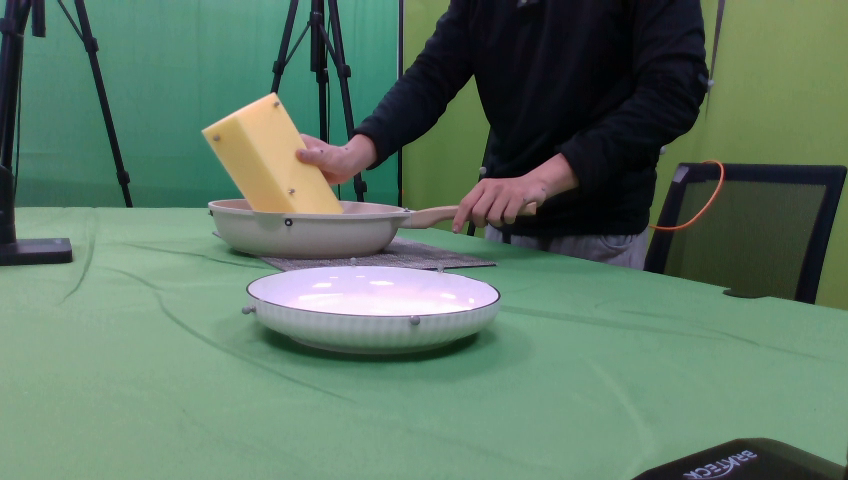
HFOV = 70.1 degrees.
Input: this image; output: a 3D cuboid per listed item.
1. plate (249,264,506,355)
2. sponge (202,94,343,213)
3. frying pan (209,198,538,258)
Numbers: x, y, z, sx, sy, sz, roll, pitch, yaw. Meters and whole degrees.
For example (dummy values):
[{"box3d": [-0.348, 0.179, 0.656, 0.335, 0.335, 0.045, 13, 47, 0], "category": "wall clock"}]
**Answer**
[{"box3d": [-0.037, 0.056, 0.504, 0.208, 0.039, 0.207, 2, 7, 0], "category": "plate"}, {"box3d": [-0.212, -0.095, 0.879, 0.061, 0.207, 0.118, -20, 22, 24], "category": "sponge"}, {"box3d": [-0.075, -0.034, 0.912, 0.487, 0.102, 0.307, -5, 7, 12], "category": "frying pan"}]
